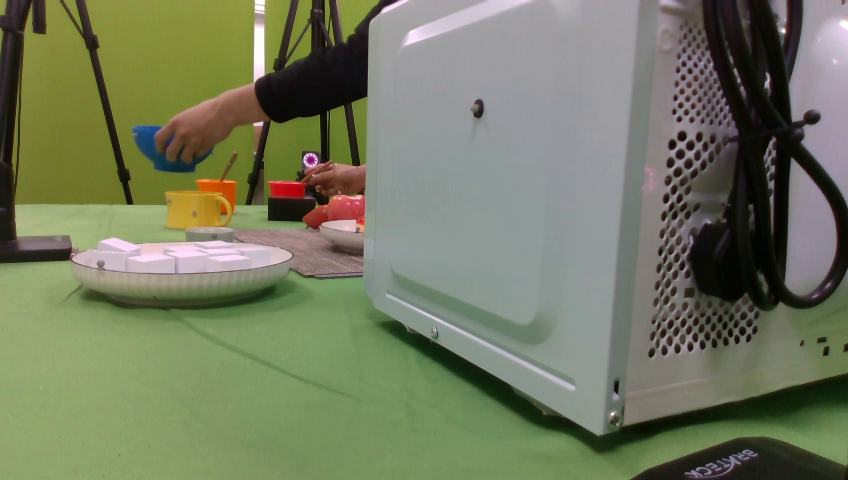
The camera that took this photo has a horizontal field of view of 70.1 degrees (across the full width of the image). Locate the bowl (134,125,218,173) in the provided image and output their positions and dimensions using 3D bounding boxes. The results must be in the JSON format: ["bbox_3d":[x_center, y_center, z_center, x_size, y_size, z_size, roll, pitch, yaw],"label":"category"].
[{"bbox_3d":[-0.477,-0.174,1.165,0.151,0.077,0.151,6,13,-1],"label":"bowl"}]

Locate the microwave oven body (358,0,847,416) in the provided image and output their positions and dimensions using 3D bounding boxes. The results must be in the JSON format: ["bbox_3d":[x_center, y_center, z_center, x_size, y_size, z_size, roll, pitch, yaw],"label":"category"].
[{"bbox_3d":[0.211,-0.047,0.474,0.444,0.260,0.324,-1,7,-28],"label":"microwave oven body"}]

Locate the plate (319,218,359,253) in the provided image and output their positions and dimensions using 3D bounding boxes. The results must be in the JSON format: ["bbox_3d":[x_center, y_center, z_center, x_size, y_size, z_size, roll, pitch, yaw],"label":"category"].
[{"bbox_3d":[-0.059,-0.007,0.939,0.209,0.038,0.209,2,8,0],"label":"plate"}]

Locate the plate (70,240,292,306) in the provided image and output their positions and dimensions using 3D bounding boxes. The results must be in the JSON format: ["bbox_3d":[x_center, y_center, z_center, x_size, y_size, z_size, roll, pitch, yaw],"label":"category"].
[{"bbox_3d":[-0.242,0.032,0.618,0.208,0.039,0.207,2,8,0],"label":"plate"}]

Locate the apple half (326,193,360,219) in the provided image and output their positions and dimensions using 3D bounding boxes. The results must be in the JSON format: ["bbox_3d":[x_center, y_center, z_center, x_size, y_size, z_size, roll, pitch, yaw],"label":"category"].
[{"bbox_3d":[-0.135,-0.047,1.090,0.081,0.074,0.053,5,10,-13],"label":"apple half"}]

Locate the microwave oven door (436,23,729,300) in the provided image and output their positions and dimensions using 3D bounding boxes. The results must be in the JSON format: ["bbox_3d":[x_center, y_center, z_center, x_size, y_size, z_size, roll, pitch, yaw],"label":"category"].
[{"bbox_3d":[0.180,-0.073,0.621,0.358,0.243,0.039,-2,9,-29],"label":"microwave oven door"}]

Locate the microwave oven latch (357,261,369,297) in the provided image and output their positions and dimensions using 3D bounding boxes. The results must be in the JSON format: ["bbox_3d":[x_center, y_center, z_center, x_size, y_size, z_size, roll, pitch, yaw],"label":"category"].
[{"bbox_3d":[-0.019,0.033,0.531,0.079,0.029,0.030,-1,7,-27],"label":"microwave oven latch"}]

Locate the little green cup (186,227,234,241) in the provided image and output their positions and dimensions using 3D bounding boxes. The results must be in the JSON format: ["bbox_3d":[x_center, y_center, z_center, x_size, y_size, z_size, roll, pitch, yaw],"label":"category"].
[{"bbox_3d":[-0.285,0.005,0.805,0.061,0.038,0.061,2,8,0],"label":"little green cup"}]

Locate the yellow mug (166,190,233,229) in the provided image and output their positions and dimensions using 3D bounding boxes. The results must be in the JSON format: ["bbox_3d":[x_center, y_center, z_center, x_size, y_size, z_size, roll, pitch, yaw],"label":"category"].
[{"bbox_3d":[-0.415,-0.057,1.132,0.130,0.064,0.100,6,7,16],"label":"yellow mug"}]

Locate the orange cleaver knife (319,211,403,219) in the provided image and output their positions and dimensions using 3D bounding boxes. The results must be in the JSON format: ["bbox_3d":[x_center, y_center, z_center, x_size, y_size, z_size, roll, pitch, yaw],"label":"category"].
[{"bbox_3d":[-0.142,-0.057,1.394,0.077,0.012,0.212,3,7,44],"label":"orange cleaver knife"}]

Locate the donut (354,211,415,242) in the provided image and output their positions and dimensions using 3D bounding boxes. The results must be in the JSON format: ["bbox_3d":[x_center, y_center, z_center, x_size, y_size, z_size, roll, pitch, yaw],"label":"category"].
[{"bbox_3d":[-0.062,-0.020,0.956,0.099,0.048,0.099,4,7,0],"label":"donut"}]

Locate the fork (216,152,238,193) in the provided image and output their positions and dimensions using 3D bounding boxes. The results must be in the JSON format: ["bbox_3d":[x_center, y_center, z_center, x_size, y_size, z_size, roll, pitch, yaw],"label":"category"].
[{"bbox_3d":[-0.455,-0.131,1.367,0.028,0.018,0.207,-3,-34,-38],"label":"fork"}]

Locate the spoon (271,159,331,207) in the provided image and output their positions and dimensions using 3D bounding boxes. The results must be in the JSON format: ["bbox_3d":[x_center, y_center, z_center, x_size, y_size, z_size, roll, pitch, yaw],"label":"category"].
[{"bbox_3d":[-0.307,-0.142,1.513,0.193,0.021,0.041,-42,-1,8],"label":"spoon"}]

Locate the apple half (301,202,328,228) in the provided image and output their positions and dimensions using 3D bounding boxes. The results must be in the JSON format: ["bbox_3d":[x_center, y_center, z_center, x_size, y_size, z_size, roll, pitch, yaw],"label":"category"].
[{"bbox_3d":[-0.194,-0.043,1.173,0.081,0.032,0.081,-22,-16,-6],"label":"apple half"}]
